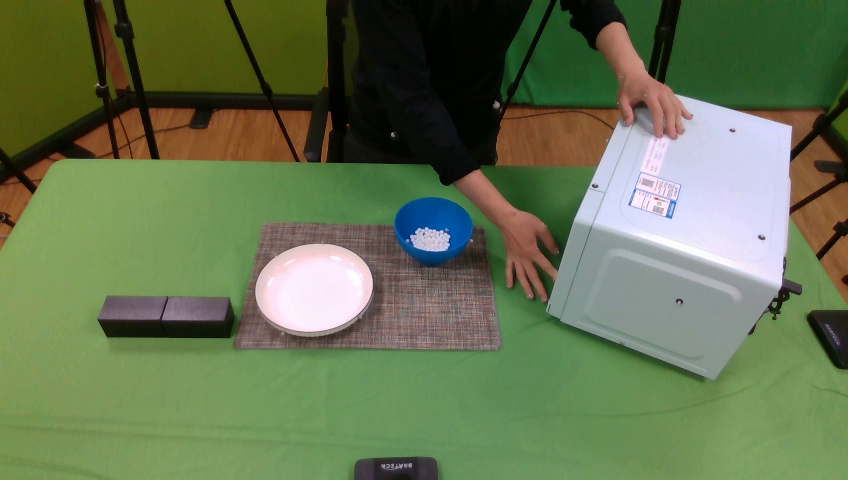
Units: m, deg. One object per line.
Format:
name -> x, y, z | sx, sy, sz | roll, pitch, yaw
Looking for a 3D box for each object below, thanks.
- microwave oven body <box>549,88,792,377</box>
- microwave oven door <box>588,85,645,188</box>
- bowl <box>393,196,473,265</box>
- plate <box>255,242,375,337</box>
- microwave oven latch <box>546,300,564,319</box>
microwave oven body -> 0.456, -0.028, 1.088 | 0.325, 0.261, 0.440 | 20, 47, 16
microwave oven door -> 0.342, -0.107, 1.149 | 0.039, 0.245, 0.354 | 20, 48, 15
bowl -> 0.015, -0.005, 1.159 | 0.151, 0.077, 0.150 | 2, 46, -2
plate -> -0.192, 0.090, 1.079 | 0.208, 0.039, 0.206 | 2, 46, -2
microwave oven latch -> 0.244, 0.104, 1.079 | 0.030, 0.029, 0.079 | 25, 49, 21
